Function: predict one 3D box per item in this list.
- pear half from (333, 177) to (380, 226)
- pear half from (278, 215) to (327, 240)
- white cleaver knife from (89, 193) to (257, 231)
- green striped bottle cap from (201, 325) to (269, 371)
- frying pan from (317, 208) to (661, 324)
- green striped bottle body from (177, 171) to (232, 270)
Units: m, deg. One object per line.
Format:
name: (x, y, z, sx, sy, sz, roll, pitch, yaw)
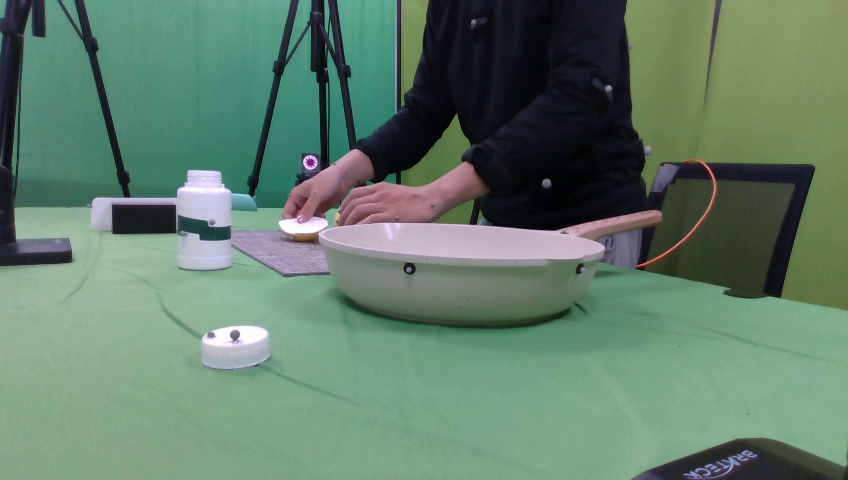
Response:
pear half: (-0.099, -0.044, 0.951, 0.055, 0.109, 0.077, 7, 9, 39)
pear half: (-0.205, -0.017, 1.014, 0.087, 0.031, 0.070, 5, 21, 26)
white cleaver knife: (-0.454, -0.052, 1.115, 0.288, 0.066, 0.021, -4, 15, -27)
green striped bottle cap: (-0.129, 0.073, 0.415, 0.044, 0.020, 0.044, 2, 8, 0)
frying pan: (0.121, 0.006, 0.691, 0.490, 0.102, 0.305, -13, 15, -33)
green striped bottle body: (-0.273, -0.026, 0.752, 0.063, 0.119, 0.063, 2, 7, 0)
